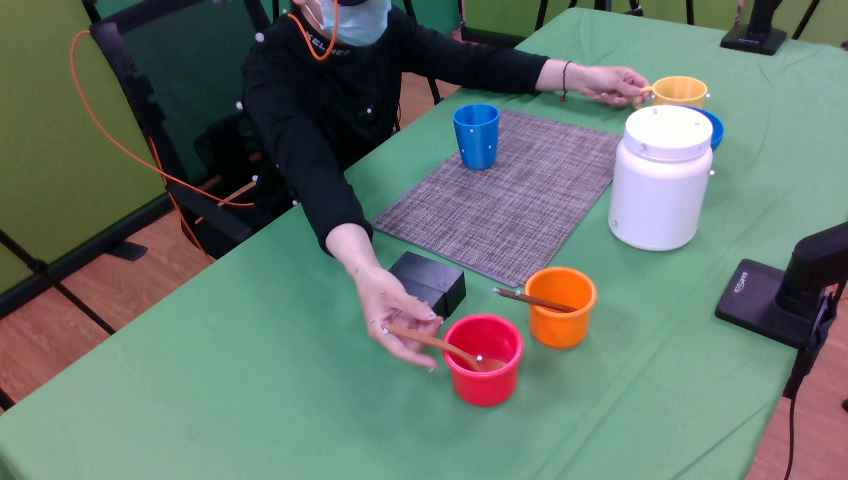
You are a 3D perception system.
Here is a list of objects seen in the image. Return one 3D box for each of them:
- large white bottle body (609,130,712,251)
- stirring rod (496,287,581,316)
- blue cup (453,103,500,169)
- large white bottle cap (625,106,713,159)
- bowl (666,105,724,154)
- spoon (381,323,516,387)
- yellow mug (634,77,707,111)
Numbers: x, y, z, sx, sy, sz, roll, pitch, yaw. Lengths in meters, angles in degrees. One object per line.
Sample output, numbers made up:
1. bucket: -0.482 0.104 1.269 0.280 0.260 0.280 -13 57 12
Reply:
1. large white bottle body: 0.351 -0.090 0.904 0.130 0.185 0.130 -5 41 4
2. stirring rod: 0.150 0.080 0.773 0.178 0.006 0.014 17 21 -42
3. blue cup: 0.100 -0.188 1.115 0.092 0.100 0.092 -4 39 4
4. large white bottle cap: 0.342 -0.153 0.848 0.115 0.018 0.114 -4 41 4
5. bowl: 0.438 -0.166 1.063 0.151 0.077 0.150 -4 41 4
6. spoon: 0.033 0.134 0.722 0.195 0.021 0.041 29 34 -26
7. yellow mug: 0.479 -0.270 1.186 0.130 0.064 0.100 10 44 22
